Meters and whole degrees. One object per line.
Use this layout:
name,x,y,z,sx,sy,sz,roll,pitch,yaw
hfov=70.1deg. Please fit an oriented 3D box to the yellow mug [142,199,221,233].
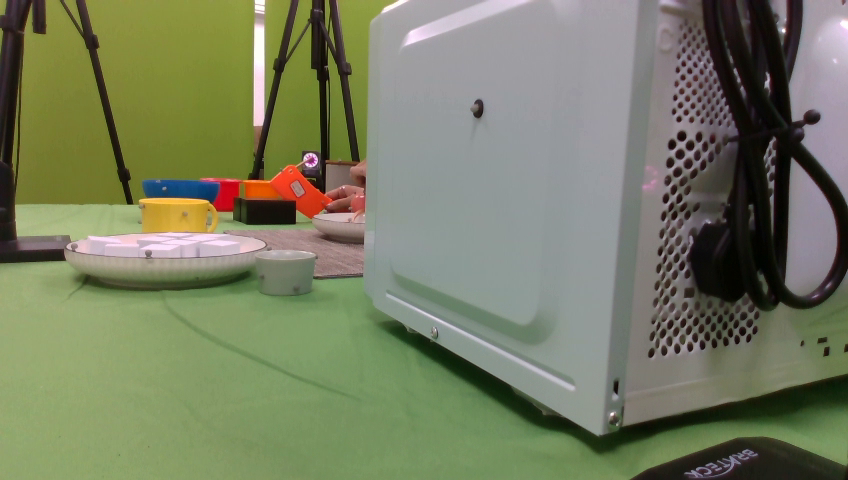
yellow mug,-0.372,-0.030,0.948,0.099,0.064,0.131,6,7,30

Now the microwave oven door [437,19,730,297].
microwave oven door,0.180,-0.076,0.618,0.358,0.243,0.039,-2,9,-28

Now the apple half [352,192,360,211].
apple half,-0.105,-0.066,1.265,0.081,0.074,0.053,0,8,-33

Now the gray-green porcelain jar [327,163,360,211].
gray-green porcelain jar,-0.187,-0.125,1.490,0.106,0.126,0.106,2,8,0

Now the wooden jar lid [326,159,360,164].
wooden jar lid,-0.185,-0.187,1.481,0.108,0.020,0.108,4,6,0

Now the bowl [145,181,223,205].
bowl,-0.499,-0.081,1.261,0.151,0.077,0.151,2,8,0

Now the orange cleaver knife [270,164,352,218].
orange cleaver knife,-0.240,-0.088,1.329,0.212,0.077,0.012,36,-9,-33

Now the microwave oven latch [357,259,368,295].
microwave oven latch,-0.019,0.031,0.529,0.079,0.029,0.030,-1,7,-26

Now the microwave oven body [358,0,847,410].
microwave oven body,0.210,-0.051,0.471,0.444,0.260,0.324,-1,7,-28

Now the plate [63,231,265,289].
plate,-0.288,0.021,0.687,0.208,0.039,0.207,2,8,0

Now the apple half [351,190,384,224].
apple half,-0.127,-0.072,1.297,0.082,0.081,0.032,-3,12,-34

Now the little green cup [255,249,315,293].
little green cup,-0.144,0.032,0.627,0.061,0.038,0.061,2,5,0

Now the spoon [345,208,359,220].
spoon,-0.124,-0.047,1.117,0.041,0.021,0.194,-7,17,18

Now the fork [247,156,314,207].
fork,-0.360,-0.147,1.523,0.207,0.018,0.028,-43,15,-7

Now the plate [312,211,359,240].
plate,-0.091,-0.026,1.063,0.209,0.038,0.209,2,7,0
